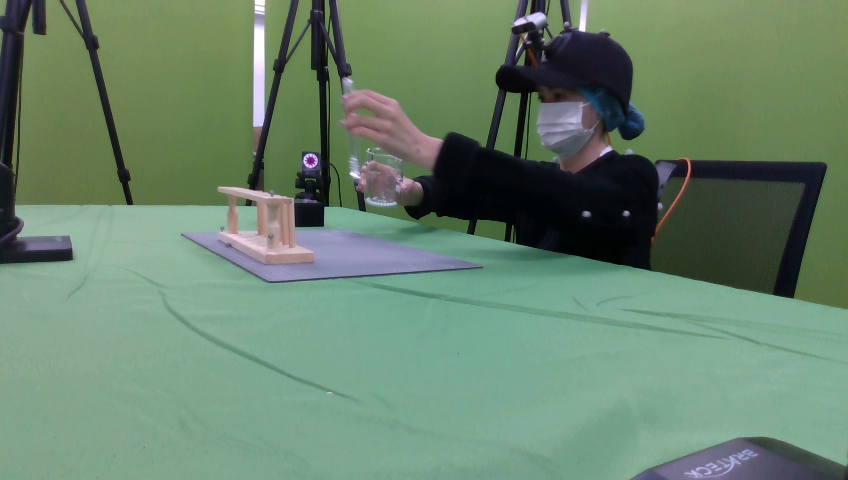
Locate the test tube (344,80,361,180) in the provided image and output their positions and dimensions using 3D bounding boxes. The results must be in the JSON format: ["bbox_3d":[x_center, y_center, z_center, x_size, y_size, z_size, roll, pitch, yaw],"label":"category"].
[{"bbox_3d":[-0.108,-0.166,0.911,0.017,0.150,0.017,-4,1,0],"label":"test tube"}]

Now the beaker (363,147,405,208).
[{"bbox_3d":[-0.074,-0.115,1.119,0.083,0.100,0.074,22,24,40],"label":"beaker"}]

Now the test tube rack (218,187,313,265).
[{"bbox_3d":[-0.235,-0.027,0.872,0.067,0.085,0.241,-2,8,-32],"label":"test tube rack"}]
